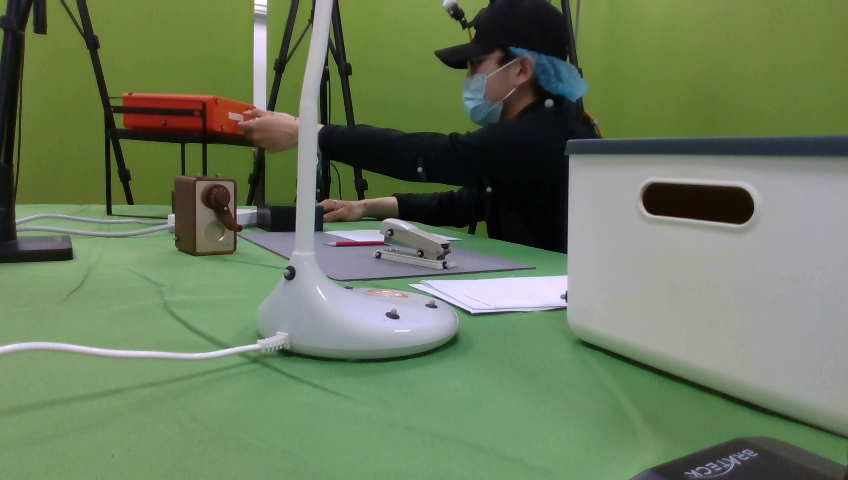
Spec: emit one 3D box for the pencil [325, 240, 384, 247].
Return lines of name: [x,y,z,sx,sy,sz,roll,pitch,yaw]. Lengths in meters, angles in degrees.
pencil: [-0.066,0.003,0.979,0.195,0.012,0.012,-3,9,-25]

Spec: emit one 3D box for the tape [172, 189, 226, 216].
tape: [-0.515,-0.087,1.388,0.117,0.052,0.117,3,8,0]

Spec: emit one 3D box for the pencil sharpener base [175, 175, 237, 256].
pencil sharpener base: [-0.304,-0.035,0.847,0.062,0.107,0.076,-4,10,-42]

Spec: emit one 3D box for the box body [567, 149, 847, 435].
box body: [0.318,0.009,0.471,0.366,0.160,0.253,-2,8,-31]

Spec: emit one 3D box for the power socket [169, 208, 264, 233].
power socket: [-0.381,-0.038,1.129,0.072,0.032,0.227,4,8,16]

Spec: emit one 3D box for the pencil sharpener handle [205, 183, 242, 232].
pencil sharpener handle: [-0.265,-0.043,0.812,0.036,0.068,0.030,-31,27,-35]

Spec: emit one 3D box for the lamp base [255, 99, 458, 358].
lamp base: [-0.056,-0.013,0.462,0.160,0.180,0.180,6,11,27]

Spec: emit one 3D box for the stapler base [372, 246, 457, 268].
stapler base: [-0.016,0.017,0.831,0.130,0.024,0.041,10,12,39]

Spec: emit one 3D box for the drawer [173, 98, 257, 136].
drawer: [-0.518,-0.279,1.376,0.211,0.073,0.195,3,8,9]

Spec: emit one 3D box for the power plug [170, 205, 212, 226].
power plug: [-0.455,-0.040,1.196,0.052,0.035,0.072,3,45,24]

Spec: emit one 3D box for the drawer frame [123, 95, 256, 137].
drawer frame: [-0.524,-0.280,1.376,0.213,0.082,0.202,3,8,8]

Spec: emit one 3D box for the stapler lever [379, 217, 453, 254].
stapler lever: [-0.013,-0.007,0.827,0.117,0.040,0.027,9,11,39]

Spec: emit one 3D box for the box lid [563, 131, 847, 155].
box lid: [0.322,-0.064,0.463,0.373,0.015,0.262,-2,9,-31]
